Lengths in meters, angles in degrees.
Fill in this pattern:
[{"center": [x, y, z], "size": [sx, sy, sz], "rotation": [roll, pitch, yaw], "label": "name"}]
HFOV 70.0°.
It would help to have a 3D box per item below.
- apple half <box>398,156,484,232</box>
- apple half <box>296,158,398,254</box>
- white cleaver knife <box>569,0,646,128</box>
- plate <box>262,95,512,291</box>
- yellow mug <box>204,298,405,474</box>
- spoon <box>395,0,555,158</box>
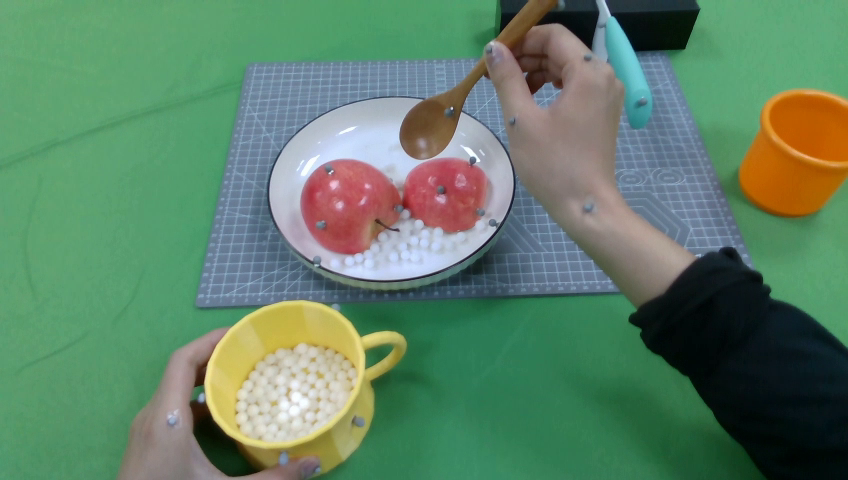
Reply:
[{"center": [0.014, -0.047, 0.515], "size": [0.081, 0.033, 0.080], "rotation": [0, 57, 0], "label": "apple half"}, {"center": [-0.065, -0.036, 0.496], "size": [0.074, 0.054, 0.081], "rotation": [37, 63, 27], "label": "apple half"}, {"center": [0.180, -0.209, 0.622], "size": [0.021, 0.066, 0.283], "rotation": [-4, 50, 3], "label": "white cleaver knife"}, {"center": [-0.031, -0.042, 0.520], "size": [0.209, 0.038, 0.207], "rotation": [0, 55, 0], "label": "plate"}, {"center": [-0.073, 0.092, 0.410], "size": [0.131, 0.064, 0.099], "rotation": [-20, 57, -15], "label": "yellow mug"}, {"center": [0.036, -0.116, 0.417], "size": [0.041, 0.194, 0.021], "rotation": [51, 49, -1], "label": "spoon"}]
